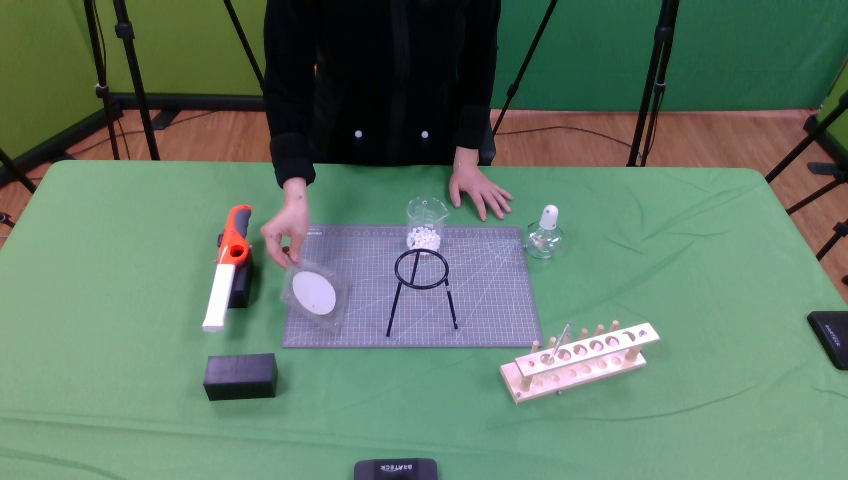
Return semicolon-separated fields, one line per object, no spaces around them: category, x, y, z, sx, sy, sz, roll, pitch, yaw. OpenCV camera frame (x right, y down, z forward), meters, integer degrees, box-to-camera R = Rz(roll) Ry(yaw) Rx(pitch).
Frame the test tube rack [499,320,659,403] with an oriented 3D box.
test tube rack;0.252;0.187;0.994;0.243;0.085;0.066;-12;48;-15

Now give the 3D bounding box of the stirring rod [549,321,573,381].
stirring rod;0.202;0.167;0.901;0.006;0.177;0.014;-18;55;-11

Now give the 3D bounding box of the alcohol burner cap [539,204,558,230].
alcohol burner cap;0.239;-0.045;1.148;0.034;0.048;0.033;2;42;-1

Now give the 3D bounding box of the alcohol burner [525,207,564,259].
alcohol burner;0.236;-0.020;1.174;0.078;0.120;0.077;1;48;-1

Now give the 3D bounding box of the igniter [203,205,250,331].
igniter;-0.345;0.039;1.065;0.057;0.025;0.274;2;49;-6

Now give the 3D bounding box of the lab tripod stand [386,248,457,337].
lab tripod stand;-0.010;0.087;1.032;0.148;0.132;0.147;1;45;-1

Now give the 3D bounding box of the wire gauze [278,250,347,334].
wire gauze;-0.192;0.088;1.049;0.125;0.011;0.121;34;36;-25

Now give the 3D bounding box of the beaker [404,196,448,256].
beaker;0.001;-0.024;1.164;0.084;0.101;0.073;6;46;0
